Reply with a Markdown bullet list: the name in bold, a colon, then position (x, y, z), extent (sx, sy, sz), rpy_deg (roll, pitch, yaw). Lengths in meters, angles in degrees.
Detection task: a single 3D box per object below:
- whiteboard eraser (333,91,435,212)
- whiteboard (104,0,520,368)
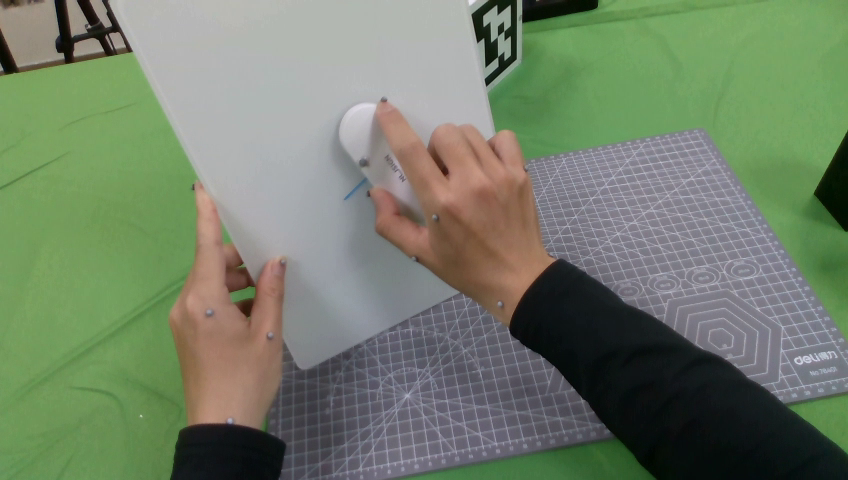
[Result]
- **whiteboard eraser**: position (-0.027, -0.062, 0.437), extent (0.041, 0.102, 0.018), rpy_deg (-39, 34, -4)
- **whiteboard**: position (-0.073, -0.092, 0.493), extent (0.217, 0.308, 0.142), rpy_deg (-26, 33, -12)
